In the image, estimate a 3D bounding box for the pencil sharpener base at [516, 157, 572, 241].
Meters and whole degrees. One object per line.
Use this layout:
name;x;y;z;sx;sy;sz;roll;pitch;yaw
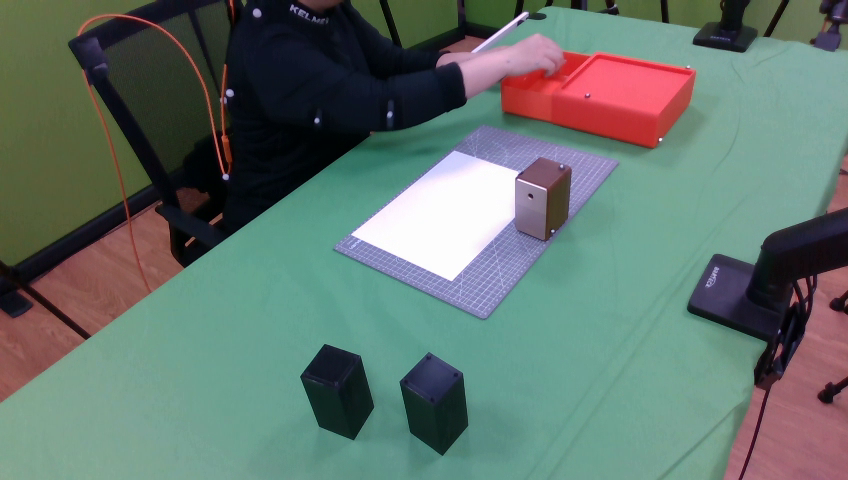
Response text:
pencil sharpener base;0.189;-0.065;0.948;0.061;0.107;0.077;24;49;33

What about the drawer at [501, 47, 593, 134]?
drawer;0.297;-0.314;1.258;0.210;0.073;0.195;22;48;28

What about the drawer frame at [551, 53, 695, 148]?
drawer frame;0.391;-0.281;1.196;0.212;0.083;0.202;22;48;30

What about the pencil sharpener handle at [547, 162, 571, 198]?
pencil sharpener handle;0.221;-0.101;0.968;0.035;0.068;0.031;20;47;37

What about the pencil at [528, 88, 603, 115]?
pencil;0.301;-0.295;1.273;0.195;0.012;0.012;-21;42;-18
